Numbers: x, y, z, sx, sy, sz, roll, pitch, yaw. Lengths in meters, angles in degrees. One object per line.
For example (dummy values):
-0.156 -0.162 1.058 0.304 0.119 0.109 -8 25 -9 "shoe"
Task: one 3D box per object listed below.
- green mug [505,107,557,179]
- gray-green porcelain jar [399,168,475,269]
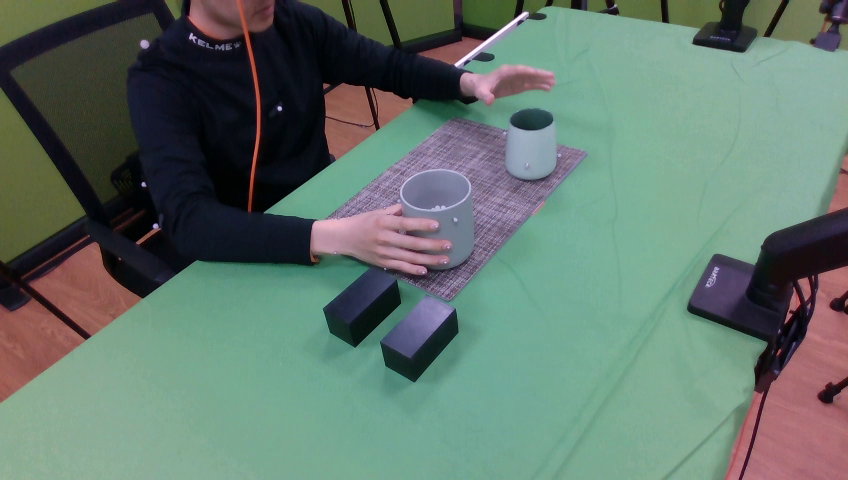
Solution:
0.189 -0.180 1.082 0.092 0.105 0.124 -6 41 2 "green mug"
0.022 -0.028 0.911 0.106 0.127 0.105 -4 41 4 "gray-green porcelain jar"
